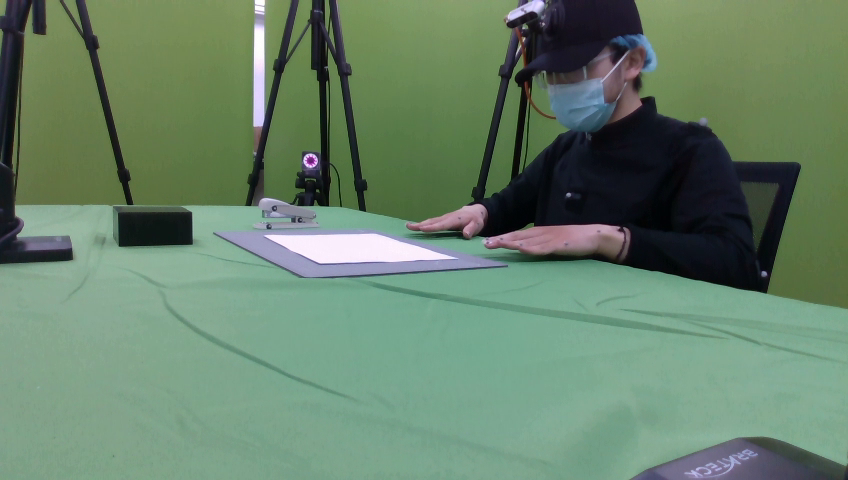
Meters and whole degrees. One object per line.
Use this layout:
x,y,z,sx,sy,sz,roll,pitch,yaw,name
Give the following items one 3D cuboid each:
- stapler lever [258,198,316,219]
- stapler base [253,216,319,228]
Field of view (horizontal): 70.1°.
-0.271,-0.062,1.201,0.119,0.040,0.026,-1,11,-40,stapler lever
-0.274,-0.037,1.203,0.131,0.024,0.041,-1,11,-40,stapler base
